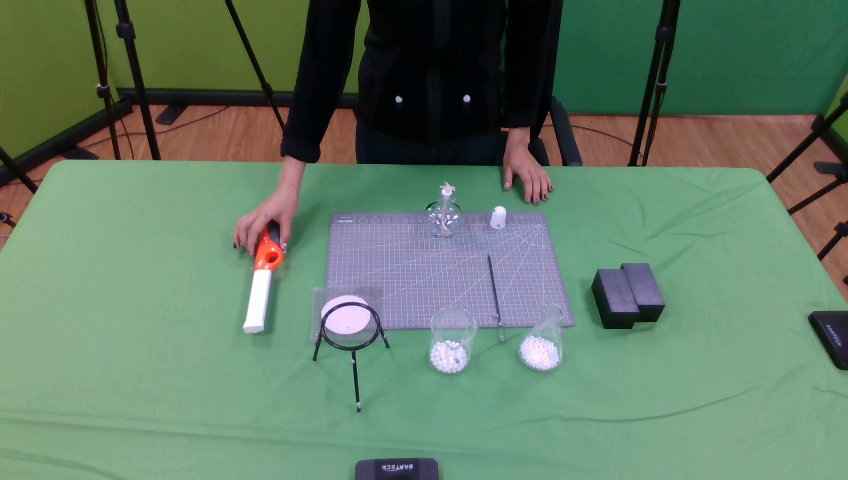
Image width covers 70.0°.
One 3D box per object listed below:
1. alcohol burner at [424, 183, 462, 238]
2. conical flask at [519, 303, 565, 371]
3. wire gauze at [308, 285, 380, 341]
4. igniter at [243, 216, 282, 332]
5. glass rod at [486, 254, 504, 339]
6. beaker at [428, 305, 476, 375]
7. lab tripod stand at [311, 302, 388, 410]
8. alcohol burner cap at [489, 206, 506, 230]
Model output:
[{"bbox_3d":[0.039,-0.063,1.197,0.078,0.119,0.077,2,44,-2],"label":"alcohol burner"},{"bbox_3d":[0.201,0.155,0.997,0.075,0.122,0.075,2,46,-2],"label":"conical flask"},{"bbox_3d":[-0.141,0.128,1.071,0.125,0.011,0.120,-1,46,-5],"label":"wire gauze"},{"bbox_3d":[-0.294,0.052,1.109,0.057,0.025,0.274,-4,45,0],"label":"igniter"},{"bbox_3d":[0.129,0.099,1.119,0.008,0.008,0.198,-1,46,-4],"label":"glass rod"},{"bbox_3d":[0.044,0.169,0.987,0.074,0.101,0.083,1,47,-3],"label":"beaker"},{"bbox_3d":[-0.113,0.168,0.951,0.148,0.132,0.147,2,44,-2],"label":"lab tripod stand"},{"bbox_3d":[0.152,-0.047,1.241,0.034,0.048,0.033,2,45,-2],"label":"alcohol burner cap"}]
